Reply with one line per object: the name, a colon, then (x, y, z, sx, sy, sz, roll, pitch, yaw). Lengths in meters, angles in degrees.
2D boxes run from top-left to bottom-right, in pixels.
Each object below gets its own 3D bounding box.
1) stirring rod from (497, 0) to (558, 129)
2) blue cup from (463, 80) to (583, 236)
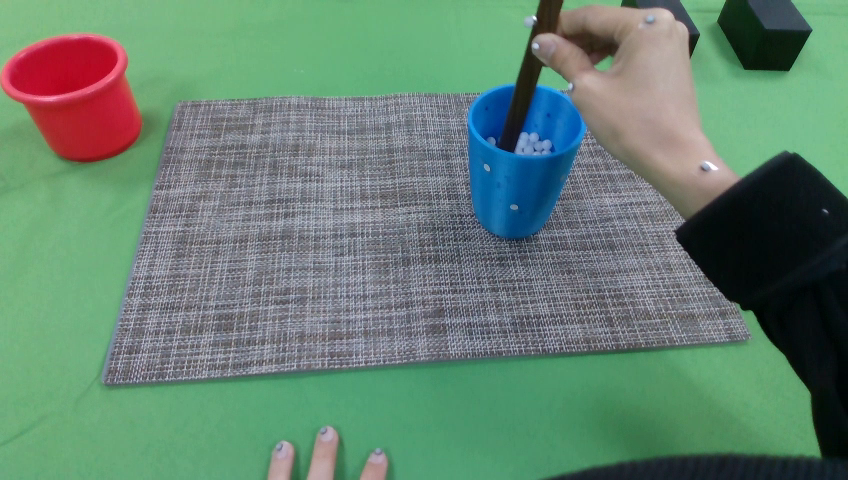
stirring rod: (0.063, -0.105, 0.391, 0.014, 0.177, 0.005, 9, 49, -3)
blue cup: (0.070, -0.056, 0.469, 0.092, 0.101, 0.091, 0, 50, 0)
